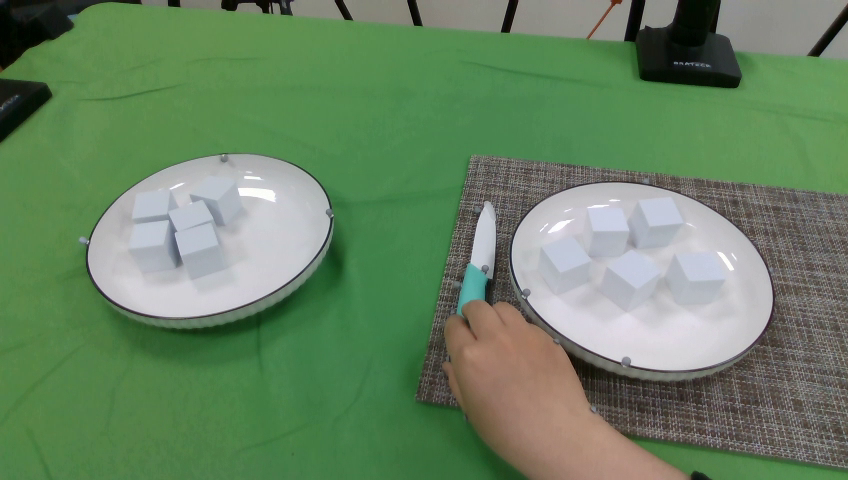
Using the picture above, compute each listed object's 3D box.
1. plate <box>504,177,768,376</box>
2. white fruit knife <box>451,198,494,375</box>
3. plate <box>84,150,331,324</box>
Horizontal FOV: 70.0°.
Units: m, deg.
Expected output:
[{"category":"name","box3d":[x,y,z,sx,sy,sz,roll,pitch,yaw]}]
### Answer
[{"category":"plate","box3d":[0.170,0.027,0.506,0.208,0.039,0.205,0,46,0]},{"category":"white fruit knife","box3d":[0.045,0.028,0.520,0.027,0.016,0.205,19,42,-5]},{"category":"plate","box3d":[-0.186,-0.004,0.543,0.209,0.038,0.207,0,45,0]}]
